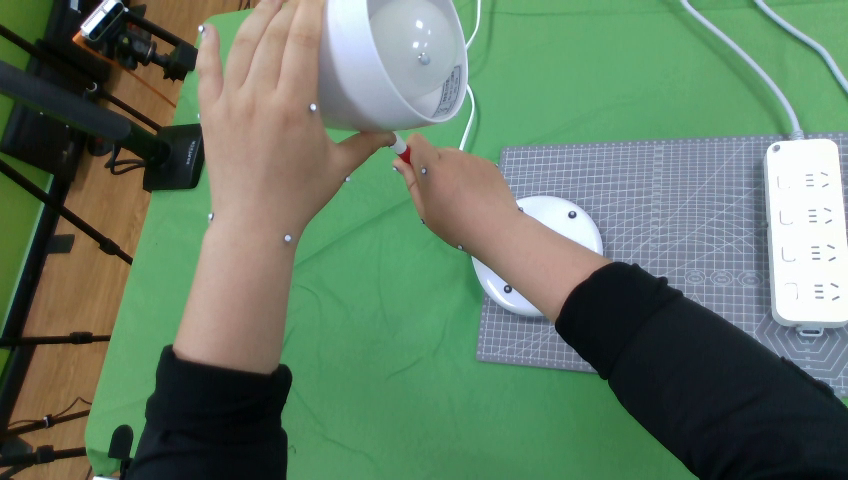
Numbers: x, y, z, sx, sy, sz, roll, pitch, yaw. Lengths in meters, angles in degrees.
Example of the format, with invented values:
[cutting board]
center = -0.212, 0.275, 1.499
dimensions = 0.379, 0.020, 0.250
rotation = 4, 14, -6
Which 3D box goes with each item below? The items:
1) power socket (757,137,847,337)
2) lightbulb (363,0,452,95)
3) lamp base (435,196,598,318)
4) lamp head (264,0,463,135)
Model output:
[power socket]
center = 0.409, -0.010, 0.658
dimensions = 0.072, 0.033, 0.225
rotation = 0, 70, 21
[lightbulb]
center = -0.032, -0.126, 0.399
dimensions = 0.107, 0.060, 0.059
rotation = 8, 74, 30
[lamp base]
center = 0.096, -0.005, 0.698
dimensions = 0.178, 0.182, 0.159
rotation = -6, 68, 24
[lamp head]
center = -0.047, -0.119, 0.422
dimensions = 0.122, 0.113, 0.111
rotation = -12, 65, 39
